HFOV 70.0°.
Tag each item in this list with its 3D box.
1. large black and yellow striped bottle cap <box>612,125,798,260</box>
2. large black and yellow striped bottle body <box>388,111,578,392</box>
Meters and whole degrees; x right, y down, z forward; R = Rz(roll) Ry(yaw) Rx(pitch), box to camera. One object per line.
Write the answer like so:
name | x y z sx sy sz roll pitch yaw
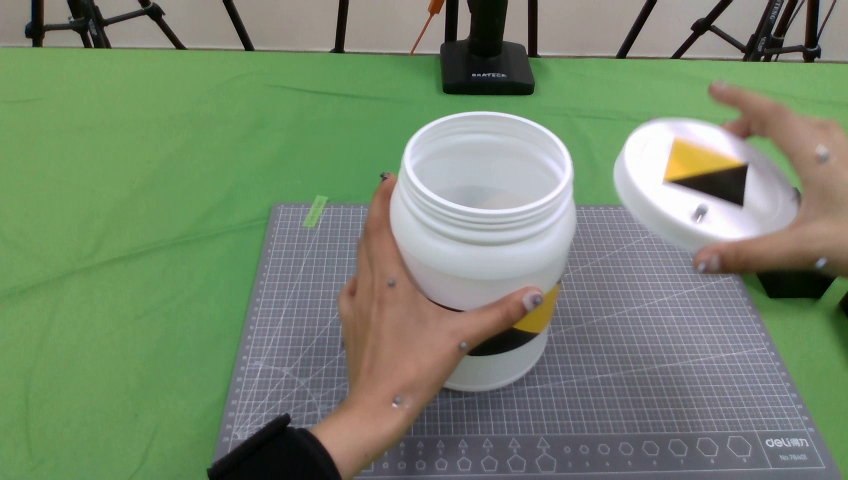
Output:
large black and yellow striped bottle cap | 0.182 -0.035 0.394 0.115 0.019 0.114 5 47 -5
large black and yellow striped bottle body | 0.040 0.011 0.449 0.131 0.185 0.129 1 45 0
